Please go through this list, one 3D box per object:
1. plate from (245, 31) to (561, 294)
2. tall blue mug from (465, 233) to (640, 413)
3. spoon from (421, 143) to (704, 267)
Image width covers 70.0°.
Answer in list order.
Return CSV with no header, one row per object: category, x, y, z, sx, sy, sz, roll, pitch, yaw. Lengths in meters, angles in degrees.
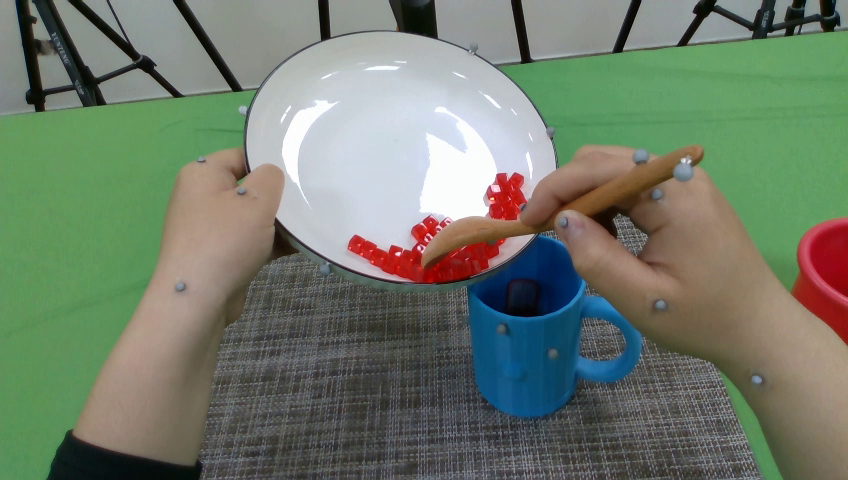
plate,-0.012,-0.055,0.410,0.208,0.039,0.206,5,60,-9
tall blue mug,0.085,0.056,0.419,0.107,0.109,0.077,-10,43,-1
spoon,0.052,-0.012,0.292,0.041,0.022,0.193,-37,10,-30
